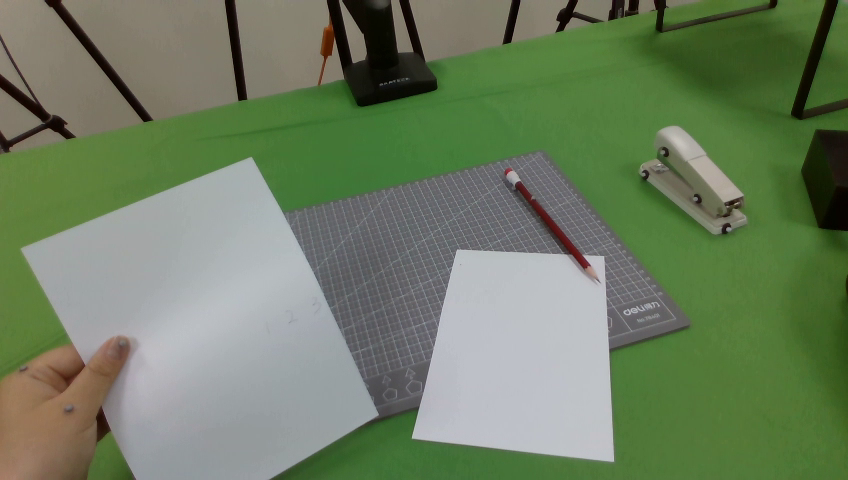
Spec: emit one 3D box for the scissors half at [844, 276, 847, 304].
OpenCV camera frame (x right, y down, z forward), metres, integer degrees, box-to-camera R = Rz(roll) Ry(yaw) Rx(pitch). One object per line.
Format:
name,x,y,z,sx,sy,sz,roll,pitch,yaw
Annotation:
scissors half,0.388,-0.003,0.516,0.040,0.013,0.174,12,66,28

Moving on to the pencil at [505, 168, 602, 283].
pencil,0.127,-0.020,0.614,0.012,0.012,0.191,-17,43,-12

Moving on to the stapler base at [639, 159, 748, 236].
stapler base,0.275,-0.054,0.627,0.041,0.025,0.129,-20,43,-11

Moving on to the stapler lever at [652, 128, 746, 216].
stapler lever,0.274,-0.072,0.609,0.027,0.040,0.116,-20,44,-11
